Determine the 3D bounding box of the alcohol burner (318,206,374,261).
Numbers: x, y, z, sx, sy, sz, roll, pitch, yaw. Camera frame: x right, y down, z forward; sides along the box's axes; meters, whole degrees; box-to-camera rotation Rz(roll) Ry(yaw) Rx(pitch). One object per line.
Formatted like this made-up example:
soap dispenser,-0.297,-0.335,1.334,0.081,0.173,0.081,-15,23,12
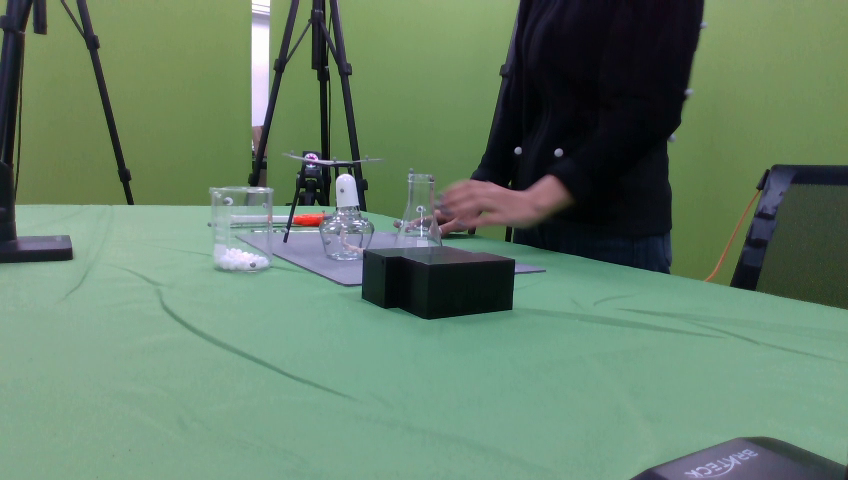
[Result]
alcohol burner,-0.107,-0.032,0.833,0.078,0.119,0.078,1,6,0

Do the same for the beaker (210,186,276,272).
beaker,-0.224,-0.014,0.738,0.084,0.100,0.074,4,7,16

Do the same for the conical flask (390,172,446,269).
conical flask,-0.006,-0.027,0.790,0.075,0.122,0.075,2,7,0

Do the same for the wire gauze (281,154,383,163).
wire gauze,-0.146,-0.130,0.977,0.124,0.011,0.122,9,10,41

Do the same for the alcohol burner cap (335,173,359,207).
alcohol burner cap,-0.108,-0.068,0.829,0.034,0.048,0.034,-7,4,1

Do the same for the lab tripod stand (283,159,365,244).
lab tripod stand,-0.151,-0.063,0.983,0.148,0.131,0.148,4,7,0

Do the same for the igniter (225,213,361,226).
igniter,-0.257,-0.042,1.221,0.278,0.025,0.057,-2,-2,-32

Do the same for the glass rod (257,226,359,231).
glass rod,-0.216,-0.022,1.152,0.201,0.008,0.008,-2,8,-28
